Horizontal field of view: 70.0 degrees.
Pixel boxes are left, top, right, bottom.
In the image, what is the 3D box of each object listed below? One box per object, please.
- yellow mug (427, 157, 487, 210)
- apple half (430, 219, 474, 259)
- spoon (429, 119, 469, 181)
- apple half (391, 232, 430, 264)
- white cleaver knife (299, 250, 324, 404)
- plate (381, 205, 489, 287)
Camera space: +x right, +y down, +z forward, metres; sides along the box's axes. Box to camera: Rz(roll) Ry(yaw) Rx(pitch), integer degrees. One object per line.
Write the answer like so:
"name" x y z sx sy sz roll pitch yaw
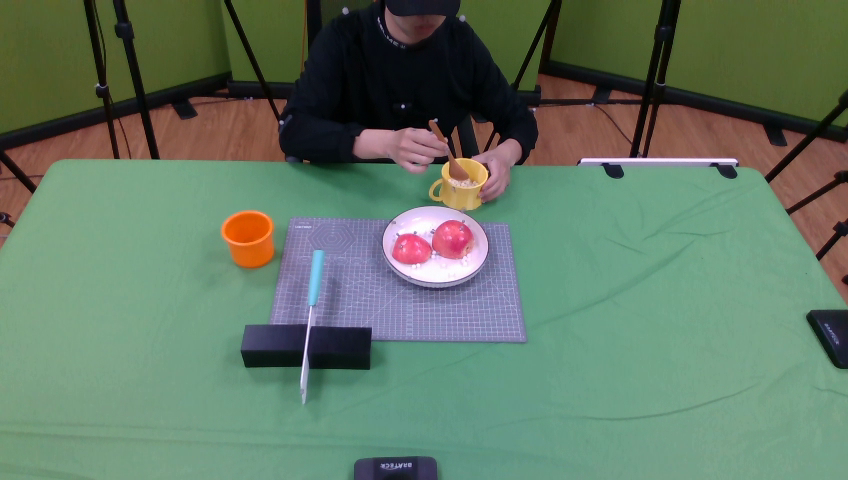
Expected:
"yellow mug" 0.067 -0.116 1.284 0.131 0.064 0.099 -16 49 -18
"apple half" 0.056 -0.008 1.172 0.081 0.053 0.074 -34 59 -31
"spoon" 0.044 -0.171 1.179 0.041 0.195 0.021 0 56 24
"apple half" -0.024 0.009 1.163 0.081 0.033 0.081 2 43 -2
"white cleaver knife" -0.194 0.134 1.019 0.021 0.066 0.284 5 50 -5
"plate" 0.021 0.015 1.170 0.209 0.038 0.208 2 46 -2
